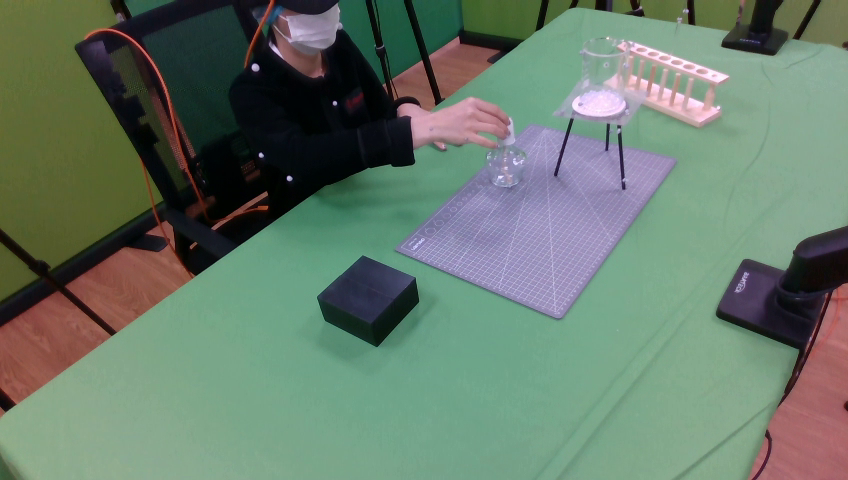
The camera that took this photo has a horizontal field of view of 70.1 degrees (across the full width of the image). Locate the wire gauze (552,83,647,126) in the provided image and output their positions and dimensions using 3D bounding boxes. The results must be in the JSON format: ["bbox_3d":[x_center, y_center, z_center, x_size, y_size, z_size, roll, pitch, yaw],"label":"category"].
[{"bbox_3d":[0.293,-0.224,1.004,0.120,0.011,0.125,19,43,26],"label":"wire gauze"}]

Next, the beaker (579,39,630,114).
[{"bbox_3d":[0.289,-0.263,0.975,0.073,0.101,0.084,17,45,27],"label":"beaker"}]

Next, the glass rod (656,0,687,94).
[{"bbox_3d":[0.491,-0.381,1.199,0.008,0.200,0.008,1,41,0],"label":"glass rod"}]

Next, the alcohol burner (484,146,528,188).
[{"bbox_3d":[0.144,-0.152,1.059,0.078,0.119,0.077,-3,41,3],"label":"alcohol burner"}]

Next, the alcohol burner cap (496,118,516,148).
[{"bbox_3d":[0.138,-0.185,1.032,0.034,0.048,0.033,-6,39,5],"label":"alcohol burner cap"}]

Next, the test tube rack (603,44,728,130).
[{"bbox_3d":[0.480,-0.316,1.227,0.067,0.085,0.240,-28,44,-22],"label":"test tube rack"}]

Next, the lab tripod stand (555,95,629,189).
[{"bbox_3d":[0.300,-0.174,1.045,0.148,0.132,0.147,-5,38,5],"label":"lab tripod stand"}]
